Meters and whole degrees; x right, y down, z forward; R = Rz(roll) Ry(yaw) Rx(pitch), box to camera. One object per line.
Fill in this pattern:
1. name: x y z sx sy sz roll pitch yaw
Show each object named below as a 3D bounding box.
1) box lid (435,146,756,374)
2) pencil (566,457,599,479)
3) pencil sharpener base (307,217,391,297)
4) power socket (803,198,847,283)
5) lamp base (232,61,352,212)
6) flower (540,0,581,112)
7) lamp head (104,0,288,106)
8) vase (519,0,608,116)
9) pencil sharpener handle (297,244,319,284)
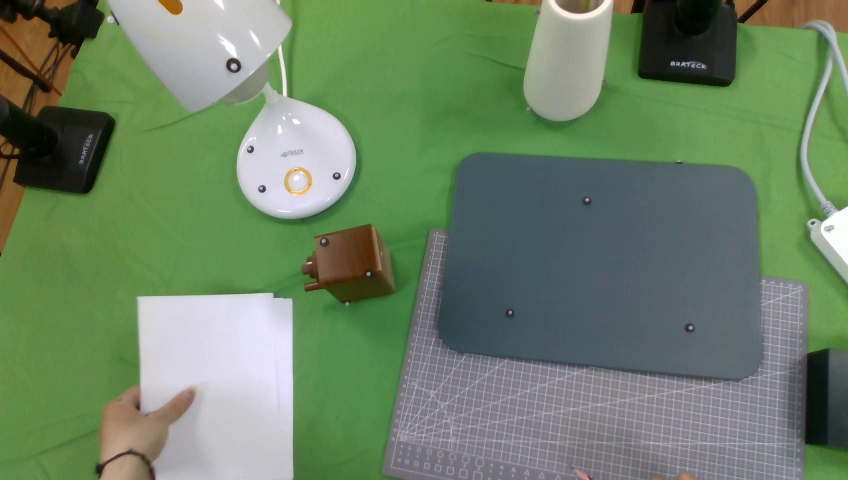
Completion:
1. box lid: 0.207 0.015 0.735 0.371 0.015 0.262 4 74 7
2. pencil: 0.213 0.275 0.596 0.194 0.012 0.012 40 81 -2
3. pencil sharpener base: -0.087 0.023 0.712 0.076 0.108 0.061 -12 72 3
4. power socket: 0.529 0.047 0.683 0.072 0.033 0.225 -30 72 -4
5. lamp base: -0.187 -0.146 0.734 0.160 0.181 0.178 -21 70 -1
6. flower: 0.170 -0.267 0.639 0.044 0.364 0.038 -14 60 -15
7. lamp head: -0.183 -0.182 0.455 0.112 0.124 0.111 -28 32 20
8. vase: 0.167 -0.231 0.715 0.098 0.201 0.097 -1 72 4
9. pencil sharpener handle: -0.138 0.033 0.701 0.030 0.068 0.035 -12 60 3
